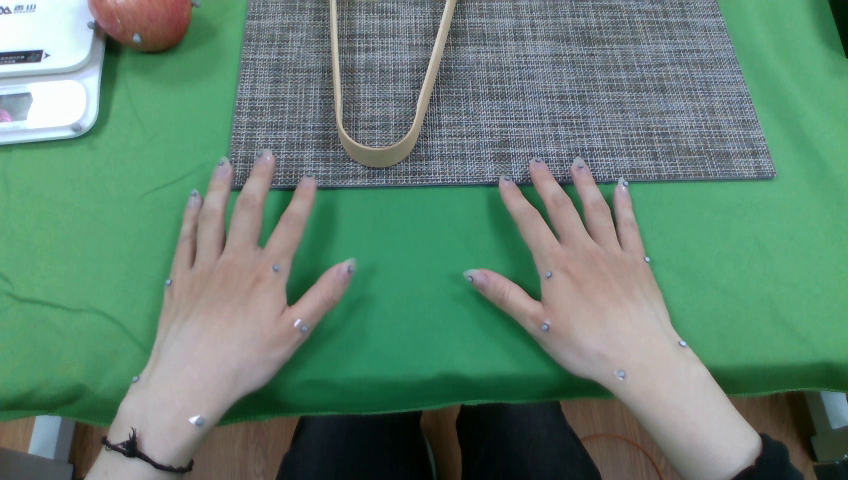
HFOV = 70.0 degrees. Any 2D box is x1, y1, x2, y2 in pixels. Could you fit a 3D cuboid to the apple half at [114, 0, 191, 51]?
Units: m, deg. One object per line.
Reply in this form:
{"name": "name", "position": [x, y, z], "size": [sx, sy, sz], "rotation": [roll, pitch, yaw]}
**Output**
{"name": "apple half", "position": [-0.230, -0.206, 0.522], "size": [0.053, 0.075, 0.080], "rotation": [-10, 61, -9]}

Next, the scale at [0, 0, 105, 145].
{"name": "scale", "position": [-0.354, -0.170, 0.523], "size": [0.149, 0.032, 0.199], "rotation": [-6, 65, -5]}

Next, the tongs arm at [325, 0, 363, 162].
{"name": "tongs arm", "position": [-0.079, -0.239, 0.564], "size": [0.028, 0.028, 0.384], "rotation": [-2, 64, -7]}

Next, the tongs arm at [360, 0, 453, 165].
{"name": "tongs arm", "position": [0.006, -0.233, 0.563], "size": [0.051, 0.027, 0.382], "rotation": [10, 65, 2]}

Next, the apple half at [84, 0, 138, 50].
{"name": "apple half", "position": [-0.268, -0.199, 0.516], "size": [0.033, 0.082, 0.080], "rotation": [-10, 64, -10]}
